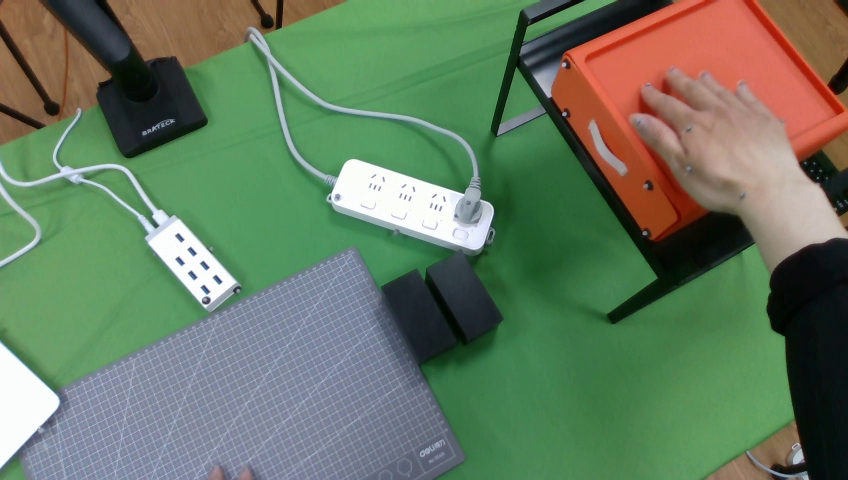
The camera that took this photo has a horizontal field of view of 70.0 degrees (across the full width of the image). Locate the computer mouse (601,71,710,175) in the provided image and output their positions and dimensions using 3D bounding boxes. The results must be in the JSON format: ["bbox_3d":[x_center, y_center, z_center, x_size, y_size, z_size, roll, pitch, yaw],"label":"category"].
[{"bbox_3d":[0.240,-0.125,0.627,0.063,0.041,0.116,-32,73,-7],"label":"computer mouse"}]

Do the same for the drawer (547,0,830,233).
[{"bbox_3d":[0.266,-0.140,0.618,0.212,0.073,0.193,-27,75,-11],"label":"drawer"}]

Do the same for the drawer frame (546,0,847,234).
[{"bbox_3d":[0.269,-0.143,0.618,0.214,0.083,0.200,-28,75,-11],"label":"drawer frame"}]

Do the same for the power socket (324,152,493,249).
[{"bbox_3d":[-0.018,-0.051,0.791,0.226,0.033,0.072,18,72,4],"label":"power socket"}]

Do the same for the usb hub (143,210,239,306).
[{"bbox_3d":[-0.293,0.022,0.761,0.049,0.025,0.124,-43,78,-13],"label":"usb hub"}]

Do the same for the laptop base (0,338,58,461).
[{"bbox_3d":[-0.620,0.242,0.681,0.235,0.023,0.353,38,75,7],"label":"laptop base"}]

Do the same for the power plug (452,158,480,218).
[{"bbox_3d":[0.063,-0.061,0.778,0.035,0.053,0.072,29,71,8],"label":"power plug"}]
